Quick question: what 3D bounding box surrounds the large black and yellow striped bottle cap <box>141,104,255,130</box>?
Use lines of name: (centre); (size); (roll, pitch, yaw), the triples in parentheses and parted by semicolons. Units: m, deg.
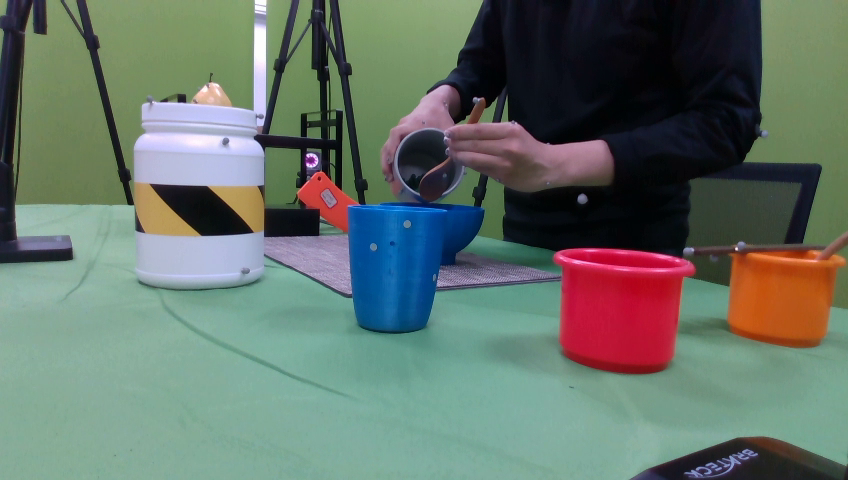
large black and yellow striped bottle cap: (-0.241, -0.131, 0.650); (0.115, 0.019, 0.115); (3, 8, 0)

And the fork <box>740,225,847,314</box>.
fork: (0.323, 0.013, 0.485); (0.028, 0.018, 0.207); (9, -38, -5)

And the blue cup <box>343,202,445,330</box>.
blue cup: (-0.027, 0.021, 0.510); (0.093, 0.100, 0.092); (3, 5, 0)

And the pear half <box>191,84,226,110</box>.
pear half: (-0.406, -0.248, 1.128); (0.070, 0.088, 0.031); (5, 7, 2)

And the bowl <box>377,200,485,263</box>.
bowl: (0.008, -0.012, 0.841); (0.151, 0.077, 0.151); (2, 7, 0)

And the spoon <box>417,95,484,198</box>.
spoon: (0.037, -0.117, 0.796); (0.042, 0.021, 0.193); (8, -33, -20)

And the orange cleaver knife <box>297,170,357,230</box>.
orange cleaver knife: (-0.149, -0.058, 1.170); (0.212, 0.077, 0.012); (32, -14, -32)

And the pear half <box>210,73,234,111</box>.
pear half: (-0.402, -0.262, 1.162); (0.076, 0.109, 0.056); (6, 7, 2)

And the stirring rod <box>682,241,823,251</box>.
stirring rod: (0.290, 0.005, 0.525); (0.177, 0.006, 0.014); (-1, 5, -26)

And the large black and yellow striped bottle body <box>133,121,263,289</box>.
large black and yellow striped bottle body: (-0.243, -0.048, 0.659); (0.131, 0.184, 0.130); (2, 7, 0)

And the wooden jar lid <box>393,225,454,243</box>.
wooden jar lid: (-0.001, -0.011, 1.058); (0.108, 0.020, 0.108); (8, 5, 0)

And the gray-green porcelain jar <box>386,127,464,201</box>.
gray-green porcelain jar: (-0.003, -0.108, 0.938); (0.106, 0.105, 0.126); (1, -5, -10)
